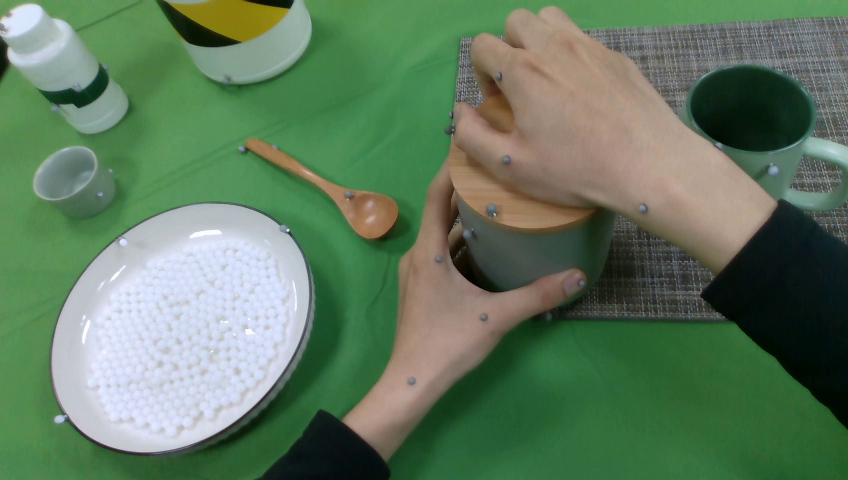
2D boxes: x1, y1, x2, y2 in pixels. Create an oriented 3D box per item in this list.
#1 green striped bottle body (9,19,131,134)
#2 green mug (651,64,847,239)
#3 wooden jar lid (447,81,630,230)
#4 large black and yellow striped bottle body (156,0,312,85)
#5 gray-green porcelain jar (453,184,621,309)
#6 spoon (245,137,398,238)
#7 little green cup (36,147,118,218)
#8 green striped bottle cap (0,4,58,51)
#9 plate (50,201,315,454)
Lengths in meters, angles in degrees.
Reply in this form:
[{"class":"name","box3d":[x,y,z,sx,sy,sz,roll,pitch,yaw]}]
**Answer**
[{"class":"green striped bottle body","box3d":[-0.348,-0.164,0.589,0.063,0.120,0.062,-5,59,8]},{"class":"green mug","box3d":[0.232,-0.055,0.430,0.124,0.106,0.092,20,65,19]},{"class":"wooden jar lid","box3d":[0.069,-0.050,0.370,0.108,0.021,0.107,-6,61,11]},{"class":"large black and yellow striped bottle body","box3d":[-0.196,-0.257,0.578,0.130,0.186,0.129,-4,60,8]},{"class":"gray-green porcelain jar","box3d":[0.077,-0.018,0.423,0.106,0.128,0.105,-4,59,7]},{"class":"spoon","box3d":[-0.097,-0.055,0.540,0.192,0.022,0.041,31,88,24]},{"class":"little green cup","box3d":[-0.323,-0.052,0.568,0.061,0.039,0.061,-4,59,7]},{"class":"green striped bottle cap","box3d":[-0.356,-0.191,0.545,0.044,0.020,0.044,-3,62,5]},{"class":"plate","box3d":[-0.183,0.064,0.477,0.209,0.038,0.207,-4,60,7]}]
